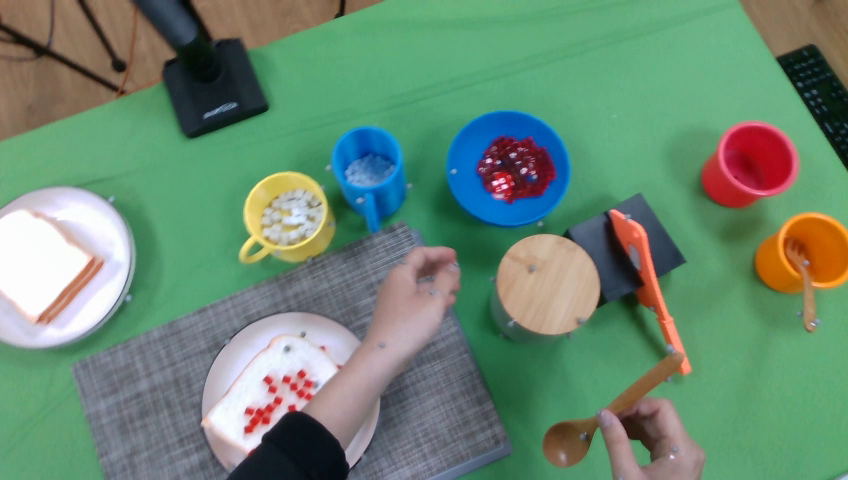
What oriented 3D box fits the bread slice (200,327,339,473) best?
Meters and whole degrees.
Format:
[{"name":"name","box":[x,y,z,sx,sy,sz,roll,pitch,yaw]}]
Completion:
[{"name":"bread slice","box":[-0.158,0.163,0.655,0.107,0.018,0.134,31,71,1]}]

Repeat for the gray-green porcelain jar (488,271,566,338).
[{"name":"gray-green porcelain jar","box":[0.130,0.057,0.701,0.106,0.127,0.105,0,75,0]}]

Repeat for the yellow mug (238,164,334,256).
[{"name":"yellow mug","box":[-0.178,-0.027,0.754,0.131,0.064,0.099,-44,79,-8]}]

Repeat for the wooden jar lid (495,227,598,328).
[{"name":"wooden jar lid","box":[0.128,0.040,0.640,0.108,0.021,0.108,1,77,-3]}]

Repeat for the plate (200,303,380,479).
[{"name":"plate","box":[-0.154,0.178,0.712,0.209,0.038,0.208,0,76,0]}]

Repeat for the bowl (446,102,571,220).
[{"name":"bowl","box":[0.101,-0.088,0.762,0.151,0.077,0.150,0,76,0]}]

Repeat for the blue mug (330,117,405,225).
[{"name":"blue mug","box":[-0.066,-0.076,0.746,0.082,0.106,0.116,-3,75,0]}]

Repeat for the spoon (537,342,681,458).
[{"name":"spoon","box":[0.160,0.146,0.538,0.022,0.194,0.041,-23,66,-40]}]

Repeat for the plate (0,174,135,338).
[{"name":"plate","box":[-0.462,0.021,0.757,0.208,0.039,0.206,0,76,0]}]

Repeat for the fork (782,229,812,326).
[{"name":"fork","box":[0.429,0.038,0.692,0.028,0.019,0.207,40,35,3]}]

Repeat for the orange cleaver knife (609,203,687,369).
[{"name":"orange cleaver knife","box":[0.266,0.054,0.723,0.012,0.077,0.212,-24,103,-5]}]

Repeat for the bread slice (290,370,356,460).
[{"name":"bread slice","box":[-0.159,0.191,0.713,0.104,0.019,0.131,33,75,10]}]
